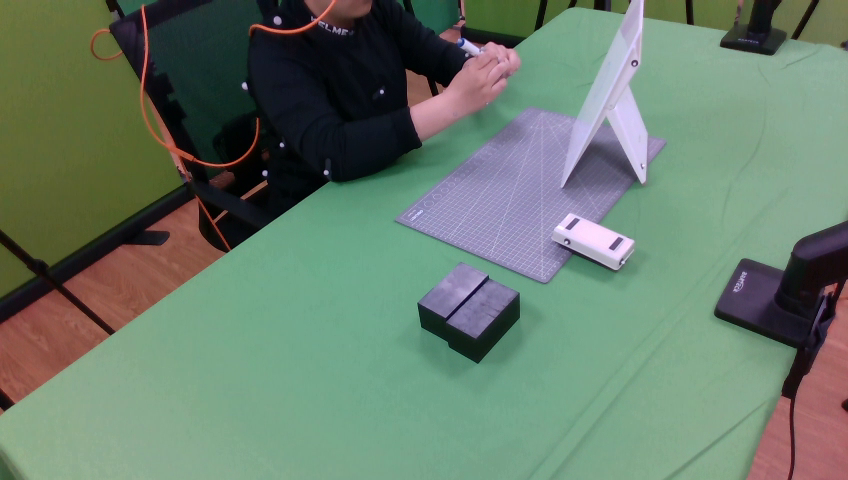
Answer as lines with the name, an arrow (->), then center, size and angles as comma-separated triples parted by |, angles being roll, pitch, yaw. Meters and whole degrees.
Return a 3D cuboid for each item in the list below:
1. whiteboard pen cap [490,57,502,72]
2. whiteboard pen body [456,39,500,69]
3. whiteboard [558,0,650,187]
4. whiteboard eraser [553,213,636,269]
whiteboard pen cap -> 0.138, -0.336, 1.162 | 0.018, 0.033, 0.018 | 2, 77, -10
whiteboard pen body -> 0.103, -0.338, 1.110 | 0.017, 0.017, 0.142 | 29, 12, 36
whiteboard -> 0.362, -0.238, 1.026 | 0.144, 0.306, 0.217 | 21, 44, 4
whiteboard eraser -> 0.258, 0.003, 0.918 | 0.112, 0.042, 0.056 | 27, 50, 30
